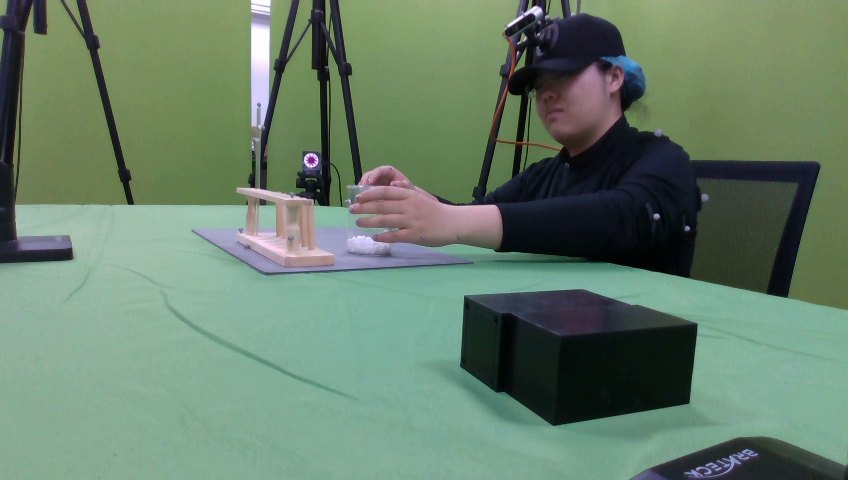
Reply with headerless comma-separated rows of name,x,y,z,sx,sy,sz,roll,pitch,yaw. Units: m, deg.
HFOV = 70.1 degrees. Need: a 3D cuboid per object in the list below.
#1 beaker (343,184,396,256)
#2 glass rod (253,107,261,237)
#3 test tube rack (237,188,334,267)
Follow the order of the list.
beaker,-0.077,-0.030,0.886,0.083,0.100,0.074,8,10,38
glass rod,-0.251,-0.101,0.912,0.008,0.199,0.008,3,3,0
test tube rack,-0.202,-0.024,0.855,0.067,0.085,0.241,-2,8,-30
